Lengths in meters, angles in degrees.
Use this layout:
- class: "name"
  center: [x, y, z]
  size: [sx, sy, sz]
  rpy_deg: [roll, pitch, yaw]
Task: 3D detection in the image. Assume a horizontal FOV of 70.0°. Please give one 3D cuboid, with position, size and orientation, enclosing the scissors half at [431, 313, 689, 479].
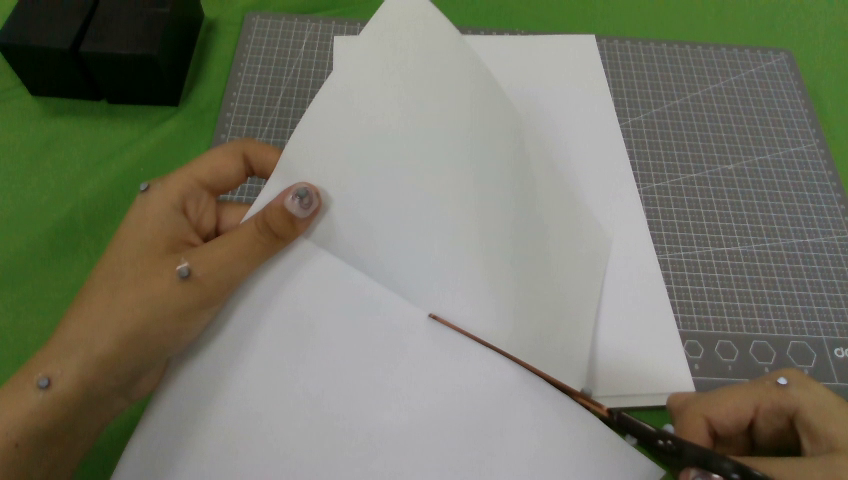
- class: "scissors half"
  center: [0.078, 0.077, 0.269]
  size: [0.175, 0.040, 0.013]
  rpy_deg: [31, 82, -4]

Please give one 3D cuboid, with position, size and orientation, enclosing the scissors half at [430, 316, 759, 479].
- class: "scissors half"
  center: [0.079, 0.073, 0.249]
  size: [0.174, 0.040, 0.013]
  rpy_deg: [27, 76, 13]
